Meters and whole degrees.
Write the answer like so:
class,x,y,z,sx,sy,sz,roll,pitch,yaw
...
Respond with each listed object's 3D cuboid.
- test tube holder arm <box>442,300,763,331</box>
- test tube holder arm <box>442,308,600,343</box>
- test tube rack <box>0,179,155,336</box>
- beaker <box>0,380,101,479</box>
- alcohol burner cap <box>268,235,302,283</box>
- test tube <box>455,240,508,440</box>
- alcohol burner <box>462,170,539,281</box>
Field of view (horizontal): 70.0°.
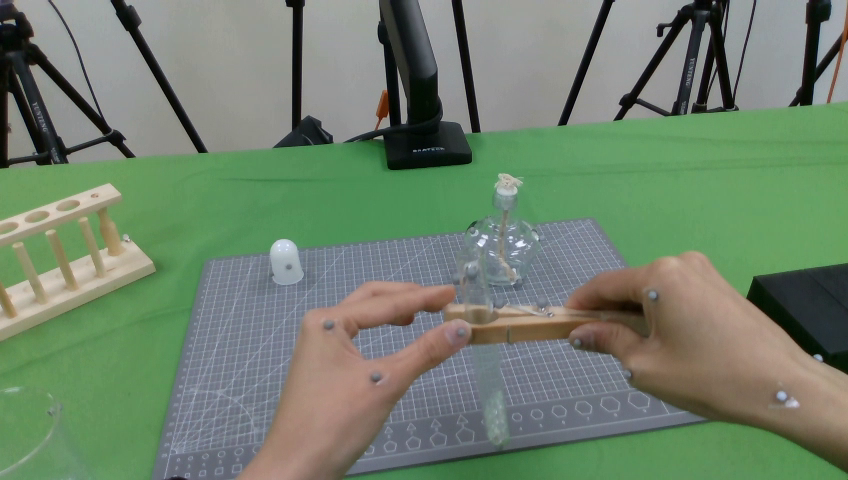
class,x,y,z,sx,sy,sz,roll,pitch,yaw
test tube holder arm,0.100,0.043,0.346,0.178,0.015,0.013,0,39,3
test tube holder arm,0.055,0.048,0.343,0.088,0.015,0.010,-4,39,-2
test tube rack,-0.403,0.031,0.587,0.242,0.086,0.066,-29,44,-33
beaker,-0.264,0.154,0.397,0.084,0.101,0.073,-2,35,1
alcohol burner cap,-0.147,0.017,0.630,0.034,0.048,0.033,-1,35,1
test tube,0.036,0.066,0.359,0.017,0.151,0.017,-8,32,5
alcohol burner,0.078,-0.018,0.609,0.078,0.120,0.077,1,36,0
